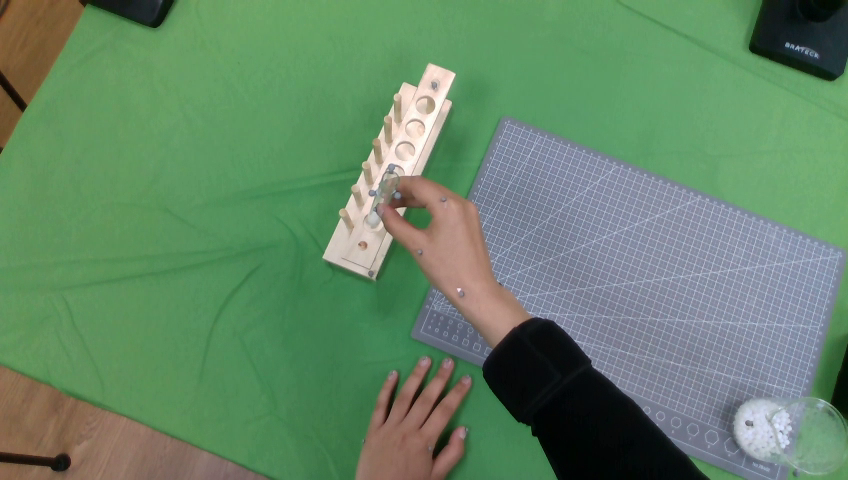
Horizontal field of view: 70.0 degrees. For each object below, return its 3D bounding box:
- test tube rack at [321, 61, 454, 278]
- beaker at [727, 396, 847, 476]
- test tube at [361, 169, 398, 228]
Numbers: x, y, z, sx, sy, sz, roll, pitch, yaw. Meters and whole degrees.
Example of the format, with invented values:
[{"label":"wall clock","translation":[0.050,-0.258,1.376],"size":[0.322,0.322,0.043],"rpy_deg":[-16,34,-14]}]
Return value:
[{"label":"test tube rack","translation":[-0.043,-0.084,0.696],"size":[0.066,0.085,0.241],"rpy_deg":[23,79,4]},{"label":"beaker","translation":[0.374,0.201,0.640],"size":[0.084,0.100,0.074],"rpy_deg":[24,78,5]},{"label":"test tube","translation":[-0.045,-0.036,0.580],"size":[0.017,0.150,0.017],"rpy_deg":[3,76,-12]}]
